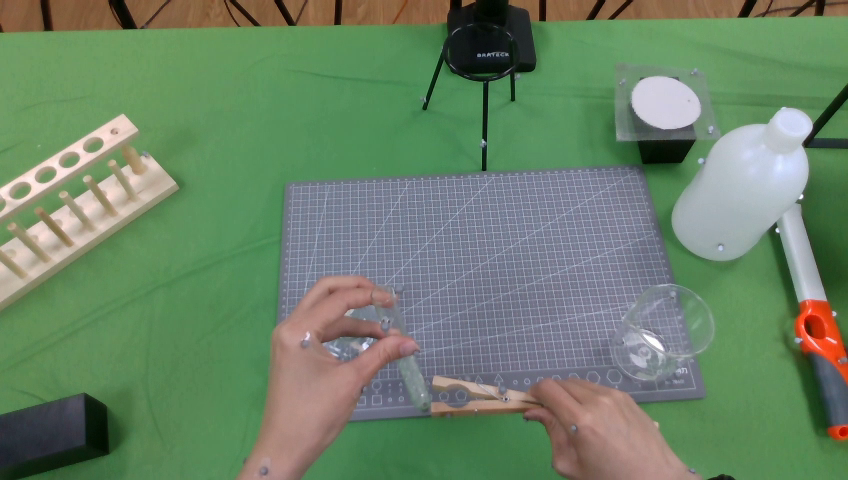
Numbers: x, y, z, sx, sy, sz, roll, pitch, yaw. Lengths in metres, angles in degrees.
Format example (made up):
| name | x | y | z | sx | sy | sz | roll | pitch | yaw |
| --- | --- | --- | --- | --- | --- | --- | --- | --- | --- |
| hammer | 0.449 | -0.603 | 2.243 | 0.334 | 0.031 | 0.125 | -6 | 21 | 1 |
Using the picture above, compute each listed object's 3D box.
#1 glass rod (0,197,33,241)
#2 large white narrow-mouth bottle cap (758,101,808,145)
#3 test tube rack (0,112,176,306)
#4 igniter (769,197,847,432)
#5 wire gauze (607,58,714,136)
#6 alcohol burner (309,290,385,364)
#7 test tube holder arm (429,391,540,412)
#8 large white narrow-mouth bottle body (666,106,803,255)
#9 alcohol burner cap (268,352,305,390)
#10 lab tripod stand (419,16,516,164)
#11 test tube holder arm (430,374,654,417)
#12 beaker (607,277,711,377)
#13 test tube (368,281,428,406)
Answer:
| name | x | y | z | sx | sy | sz | roll | pitch | yaw |
| --- | --- | --- | --- | --- | --- | --- | --- | --- | --- |
| glass rod | -0.448 | -0.057 | 0.619 | 0.008 | 0.201 | 0.008 | 2 | 53 | -2 |
| large white narrow-mouth bottle cap | 0.338 | -0.111 | 0.572 | 0.038 | 0.024 | 0.037 | 0 | 61 | 0 |
| test tube rack | -0.414 | -0.033 | 0.682 | 0.242 | 0.086 | 0.066 | -40 | 69 | -20 |
| igniter | 0.425 | 0.071 | 0.668 | 0.057 | 0.025 | 0.274 | 6 | 61 | -9 |
| wire gauze | 0.292 | -0.178 | 0.756 | 0.121 | 0.011 | 0.124 | 4 | 61 | 2 |
| alcohol burner | -0.078 | 0.080 | 0.606 | 0.078 | 0.120 | 0.077 | 1 | 60 | -2 |
| test tube holder arm | 0.048 | 0.128 | 0.485 | 0.088 | 0.015 | 0.010 | -5 | 67 | -1 |
| large white narrow-mouth bottle body | 0.338 | -0.068 | 0.647 | 0.102 | 0.196 | 0.101 | 0 | 61 | 0 |
| alcohol burner cap | -0.142 | 0.132 | 0.618 | 0.034 | 0.048 | 0.033 | 0 | 63 | 1 |
| lab tripod stand | 0.062 | -0.189 | 0.744 | 0.148 | 0.132 | 0.147 | 1 | 63 | -2 |
| test tube holder arm | 0.093 | 0.125 | 0.486 | 0.178 | 0.015 | 0.013 | 6 | 68 | 3 |
| beaker | 0.228 | 0.092 | 0.611 | 0.084 | 0.101 | 0.073 | 2 | 61 | 2 |
| test tube | -0.016 | 0.082 | 0.446 | 0.017 | 0.152 | 0.017 | -7 | 47 | 8 |
